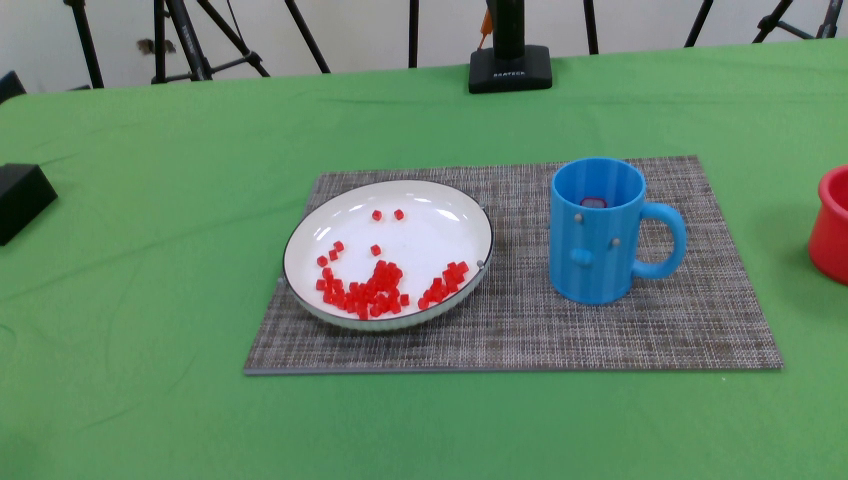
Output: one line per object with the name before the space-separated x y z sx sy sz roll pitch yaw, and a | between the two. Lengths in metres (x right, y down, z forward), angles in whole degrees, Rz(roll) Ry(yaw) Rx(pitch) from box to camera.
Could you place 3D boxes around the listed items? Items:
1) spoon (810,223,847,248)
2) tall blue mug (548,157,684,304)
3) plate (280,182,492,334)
spoon | 0.416 -0.025 0.491 0.041 0.193 0.021 -36 93 -33
tall blue mug | 0.165 -0.009 0.538 0.107 0.109 0.077 -6 40 3
plate | -0.035 0.016 0.600 0.207 0.039 0.205 -5 40 4
